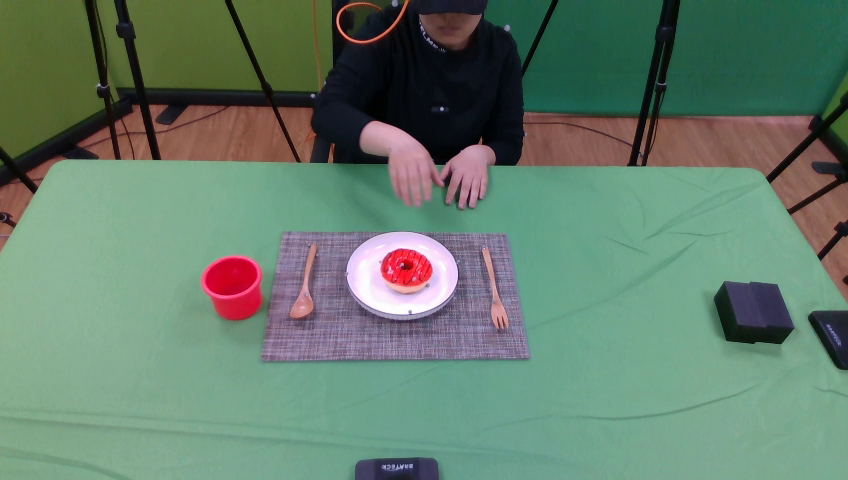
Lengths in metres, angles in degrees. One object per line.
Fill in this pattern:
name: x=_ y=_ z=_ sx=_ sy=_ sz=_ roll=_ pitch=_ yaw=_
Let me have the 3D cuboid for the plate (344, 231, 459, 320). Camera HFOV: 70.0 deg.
plate: x=-0.042 y=0.068 z=1.115 sx=0.209 sy=0.038 sz=0.208 roll=2 pitch=46 yaw=-2

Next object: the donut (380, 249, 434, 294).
donut: x=-0.032 y=0.056 z=1.111 sx=0.099 sy=0.048 sz=0.098 roll=3 pitch=43 yaw=-3

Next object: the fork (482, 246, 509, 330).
fork: x=0.128 y=0.084 z=1.125 sx=0.028 sy=0.019 sz=0.206 roll=-7 pitch=48 yaw=0

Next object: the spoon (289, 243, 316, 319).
spoon: x=-0.215 y=0.071 z=1.108 sx=0.041 sy=0.022 sz=0.192 roll=-10 pitch=45 yaw=10
